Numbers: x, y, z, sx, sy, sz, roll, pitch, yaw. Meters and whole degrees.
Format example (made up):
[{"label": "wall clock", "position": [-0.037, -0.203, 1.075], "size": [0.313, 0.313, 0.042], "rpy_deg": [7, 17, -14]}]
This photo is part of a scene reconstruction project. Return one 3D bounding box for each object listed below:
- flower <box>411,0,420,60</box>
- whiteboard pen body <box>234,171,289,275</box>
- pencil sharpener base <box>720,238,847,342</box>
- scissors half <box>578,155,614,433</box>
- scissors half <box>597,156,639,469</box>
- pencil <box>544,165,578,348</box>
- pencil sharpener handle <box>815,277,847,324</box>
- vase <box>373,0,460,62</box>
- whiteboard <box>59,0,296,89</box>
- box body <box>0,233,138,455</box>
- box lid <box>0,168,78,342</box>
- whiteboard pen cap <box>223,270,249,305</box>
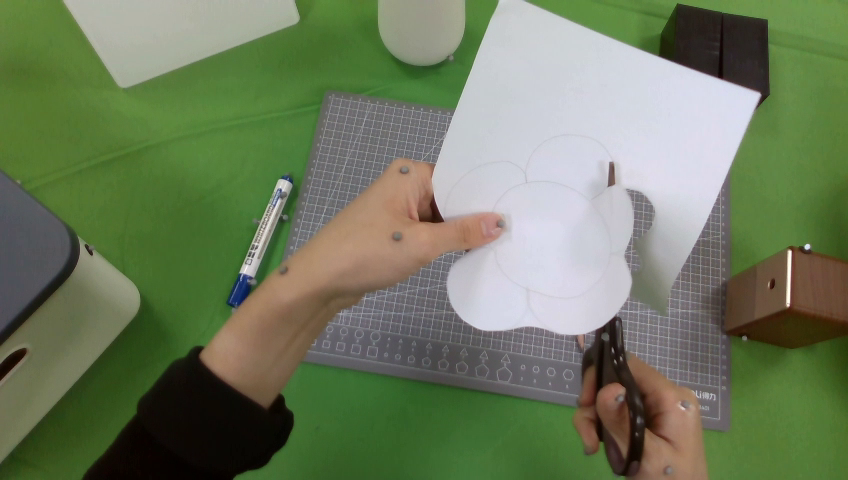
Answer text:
[{"label": "flower", "position": [-0.012, -0.316, 0.540], "size": [0.044, 0.365, 0.038], "rpy_deg": [2, 53, 3]}, {"label": "whiteboard pen body", "position": [-0.167, -0.008, 0.612], "size": [0.017, 0.017, 0.140], "rpy_deg": [15, 69, 5]}, {"label": "pencil sharpener base", "position": [0.335, 0.050, 0.557], "size": [0.077, 0.107, 0.061], "rpy_deg": [13, 70, 0]}, {"label": "scissors half", "position": [0.104, 0.037, 0.358], "size": [0.013, 0.039, 0.176], "rpy_deg": [-2, 113, -1]}, {"label": "scissors half", "position": [0.105, 0.041, 0.337], "size": [0.013, 0.040, 0.175], "rpy_deg": [-3, 89, -6]}, {"label": "pencil", "position": [0.141, 0.013, 0.616], "size": [0.012, 0.012, 0.193], "rpy_deg": [-4, 73, -2]}, {"label": "pencil sharpener handle", "position": [0.385, 0.058, 0.545], "size": [0.030, 0.068, 0.036], "rpy_deg": [13, 65, 0]}, {"label": "vase", "position": [-0.008, -0.274, 0.614], "size": [0.098, 0.201, 0.097], "rpy_deg": [0, 69, 0]}, {"label": "whiteboard", "position": [-0.294, -0.352, 0.610], "size": [0.217, 0.308, 0.142], "rpy_deg": [-24, 53, -9]}, {"label": "box body", "position": [-0.473, 0.023, 0.518], "size": [0.363, 0.161, 0.253], "rpy_deg": [35, 74, 10]}, {"label": "box lid", "position": [-0.473, -0.004, 0.448], "size": [0.370, 0.015, 0.262], "rpy_deg": [35, 73, 10]}, {"label": "whiteboard pen cap", "position": [-0.182, 0.045, 0.591], "size": [0.018, 0.018, 0.033], "rpy_deg": [15, 67, 4]}]
